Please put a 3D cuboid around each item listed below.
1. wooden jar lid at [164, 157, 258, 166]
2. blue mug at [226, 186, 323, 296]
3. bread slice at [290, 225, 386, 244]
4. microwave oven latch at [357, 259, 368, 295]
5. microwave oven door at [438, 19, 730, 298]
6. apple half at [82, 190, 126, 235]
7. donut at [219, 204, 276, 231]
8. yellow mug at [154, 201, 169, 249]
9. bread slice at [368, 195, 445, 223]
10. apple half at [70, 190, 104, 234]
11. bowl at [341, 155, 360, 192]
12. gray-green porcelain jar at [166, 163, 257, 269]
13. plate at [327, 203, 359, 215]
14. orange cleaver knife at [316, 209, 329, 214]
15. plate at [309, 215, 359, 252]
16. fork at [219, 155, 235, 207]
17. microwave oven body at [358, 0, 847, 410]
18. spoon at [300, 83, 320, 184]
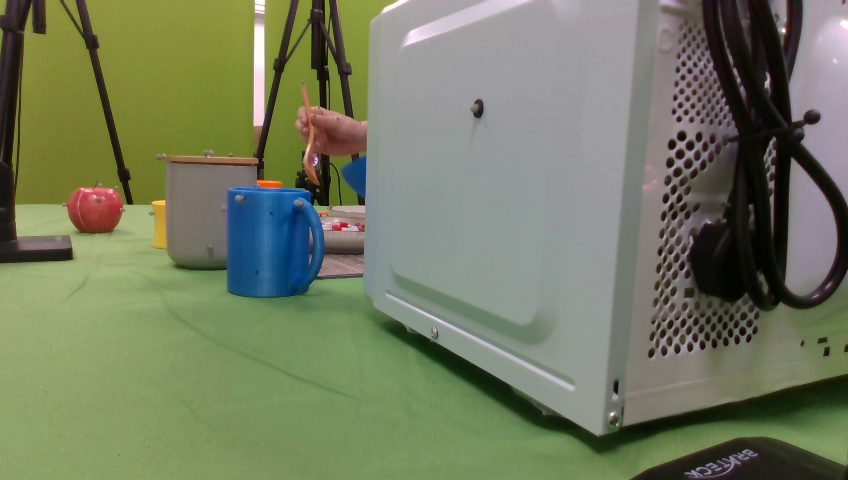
[{"bbox_3d":[-0.261,-0.093,0.746,0.108,0.020,0.108,0,9,0],"label":"wooden jar lid"},{"bbox_3d":[-0.148,0.000,0.618,0.116,0.106,0.083,7,9,33],"label":"blue mug"},{"bbox_3d":[-0.124,-0.008,0.937,0.131,0.019,0.105,4,8,32],"label":"bread slice"},{"bbox_3d":[-0.019,0.031,0.529,0.079,0.029,0.030,-1,7,-26],"label":"microwave oven latch"},{"bbox_3d":[0.181,-0.076,0.618,0.358,0.243,0.039,-2,8,-28],"label":"microwave oven door"},{"bbox_3d":[-0.516,-0.046,0.994,0.032,0.081,0.081,0,6,26],"label":"apple half"},{"bbox_3d":[-0.316,-0.039,1.083,0.099,0.048,0.099,2,7,0],"label":"donut"},{"bbox_3d":[-0.337,-0.022,0.899,0.130,0.064,0.100,8,10,34],"label":"yellow mug"},{"bbox_3d":[-0.040,-0.057,1.142,0.107,0.018,0.133,-9,-8,-39],"label":"bread slice"},{"bbox_3d":[-0.552,-0.047,1.009,0.053,0.074,0.081,-1,9,26],"label":"apple half"},{"bbox_3d":[-0.049,-0.103,0.968,0.151,0.077,0.151,-20,-1,0],"label":"bowl"},{"bbox_3d":[-0.263,-0.031,0.754,0.106,0.126,0.106,2,7,0],"label":"gray-green porcelain jar"},{"bbox_3d":[-0.102,-0.053,1.299,0.209,0.038,0.209,2,8,0],"label":"plate"},{"bbox_3d":[-0.259,-0.064,1.423,0.212,0.012,0.077,-4,2,-30],"label":"orange cleaver knife"},{"bbox_3d":[-0.130,-0.011,0.945,0.208,0.039,0.207,2,7,0],"label":"plate"},{"bbox_3d":[-0.459,-0.134,1.415,0.028,0.018,0.207,-2,-34,-25],"label":"fork"},{"bbox_3d":[0.210,-0.051,0.471,0.444,0.260,0.324,-1,7,-28],"label":"microwave oven body"},{"bbox_3d":[-0.188,-0.178,0.994,0.021,0.193,0.042,-10,-22,6],"label":"spoon"}]
